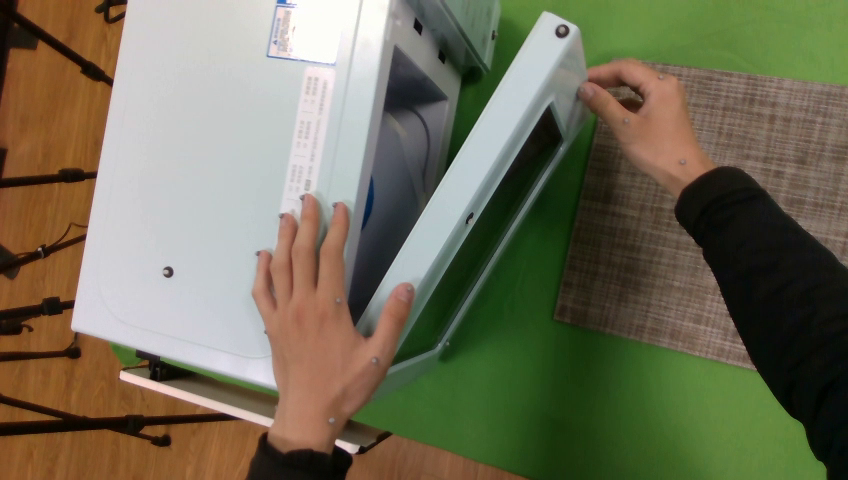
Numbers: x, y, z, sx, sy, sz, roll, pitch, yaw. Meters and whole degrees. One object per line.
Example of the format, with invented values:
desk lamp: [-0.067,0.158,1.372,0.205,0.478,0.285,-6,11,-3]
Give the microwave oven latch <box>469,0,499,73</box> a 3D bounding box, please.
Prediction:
microwave oven latch: [0.066,-0.235,0.695,0.030,0.029,0.079,12,92,17]

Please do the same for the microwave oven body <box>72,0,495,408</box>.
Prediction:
microwave oven body: [-0.135,-0.092,0.650,0.324,0.261,0.441,11,91,17]

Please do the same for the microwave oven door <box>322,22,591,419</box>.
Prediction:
microwave oven door: [0.046,-0.004,0.585,0.039,0.245,0.356,32,97,17]
